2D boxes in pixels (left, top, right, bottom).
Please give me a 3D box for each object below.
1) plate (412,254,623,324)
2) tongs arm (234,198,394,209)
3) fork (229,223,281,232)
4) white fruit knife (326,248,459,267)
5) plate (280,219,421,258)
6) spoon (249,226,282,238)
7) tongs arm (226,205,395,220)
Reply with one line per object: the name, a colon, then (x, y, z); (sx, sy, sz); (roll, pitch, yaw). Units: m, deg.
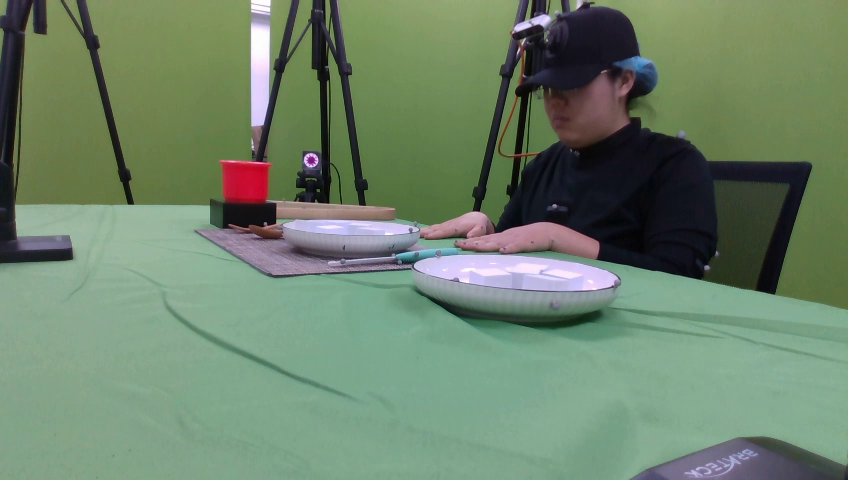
plate: (0.091, 0.047, 0.609); (0.209, 0.038, 0.209); (2, 7, 0)
tongs arm: (-0.263, -0.076, 1.460); (0.386, 0.026, 0.050); (3, 7, -8)
fork: (-0.244, -0.023, 1.091); (0.208, 0.018, 0.028); (-3, 3, -28)
white fruit knife: (-0.034, 0.026, 0.807); (0.208, 0.016, 0.027); (-4, -19, -34)
plate: (-0.108, -0.002, 0.902); (0.208, 0.039, 0.207); (3, 7, 0)
spoon: (-0.198, -0.015, 1.024); (0.195, 0.021, 0.041); (-2, -9, -30)
tongs arm: (-0.247, -0.062, 1.382); (0.389, 0.028, 0.028); (0, 5, -21)
